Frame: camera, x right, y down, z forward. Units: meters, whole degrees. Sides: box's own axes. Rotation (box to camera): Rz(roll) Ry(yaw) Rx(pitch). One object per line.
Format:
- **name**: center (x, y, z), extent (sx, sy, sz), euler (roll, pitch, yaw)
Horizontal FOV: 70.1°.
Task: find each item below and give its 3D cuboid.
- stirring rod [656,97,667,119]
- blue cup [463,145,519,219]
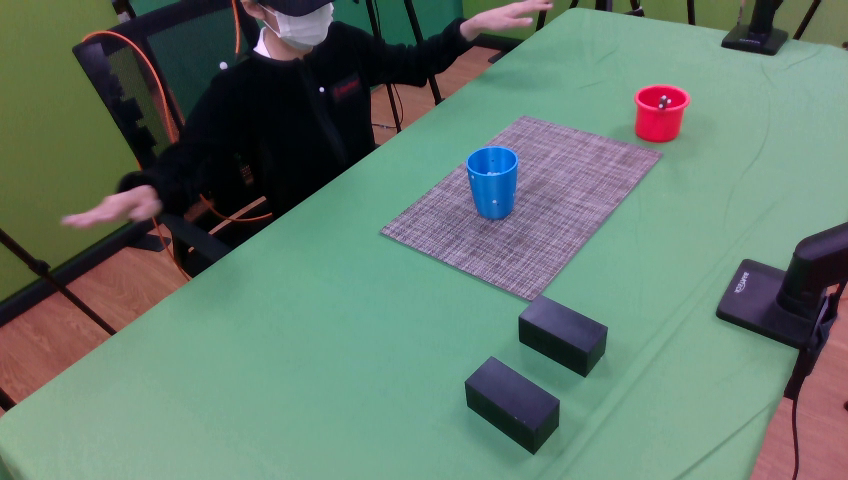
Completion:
- **stirring rod**: center (0.432, -0.239, 1.102), extent (0.014, 0.006, 0.177), euler (4, 2, 19)
- **blue cup**: center (0.115, -0.090, 0.996), extent (0.092, 0.101, 0.092), euler (-5, 41, 5)
